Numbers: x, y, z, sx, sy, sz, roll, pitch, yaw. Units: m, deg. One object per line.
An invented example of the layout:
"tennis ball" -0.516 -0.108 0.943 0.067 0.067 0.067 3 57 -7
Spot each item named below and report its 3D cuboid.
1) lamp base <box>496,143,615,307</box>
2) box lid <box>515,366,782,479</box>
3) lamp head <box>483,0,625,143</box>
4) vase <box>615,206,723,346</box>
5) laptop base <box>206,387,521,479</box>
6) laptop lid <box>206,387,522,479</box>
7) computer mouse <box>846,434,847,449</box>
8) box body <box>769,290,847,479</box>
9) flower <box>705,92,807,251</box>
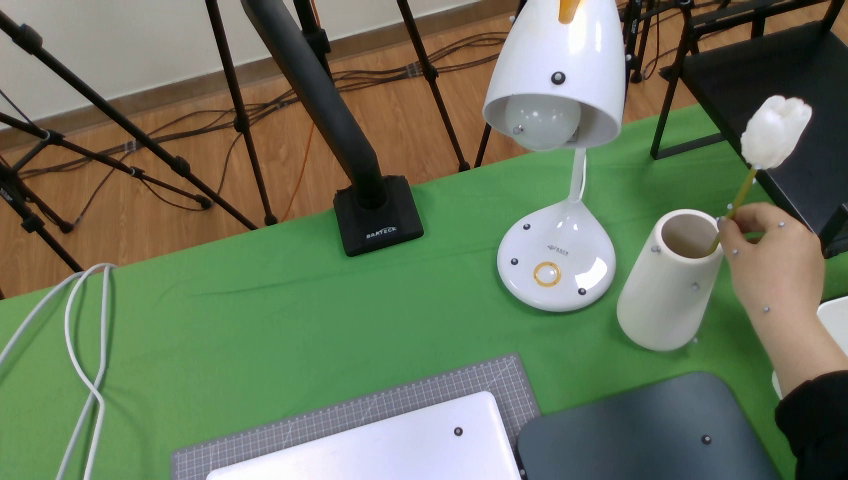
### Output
"lamp base" 0.174 -0.032 0.773 0.160 0.182 0.178 13 57 16
"box lid" 0.270 0.323 0.629 0.263 0.015 0.367 -15 57 -4
"lamp head" 0.114 -0.150 0.497 0.112 0.113 0.122 10 77 14
"vase" 0.279 0.044 0.697 0.098 0.202 0.097 -4 55 7
"laptop base" -0.059 0.318 0.670 0.354 0.023 0.233 -16 61 -3
"laptop lid" -0.060 0.315 0.660 0.357 0.013 0.239 -14 59 -2
"computer mouse" 0.506 0.189 0.663 0.062 0.041 0.116 17 57 20
"box body" 0.542 0.220 0.570 0.254 0.162 0.360 -13 56 -1
"flower" 0.286 0.004 0.606 0.044 0.365 0.038 -14 53 -6
